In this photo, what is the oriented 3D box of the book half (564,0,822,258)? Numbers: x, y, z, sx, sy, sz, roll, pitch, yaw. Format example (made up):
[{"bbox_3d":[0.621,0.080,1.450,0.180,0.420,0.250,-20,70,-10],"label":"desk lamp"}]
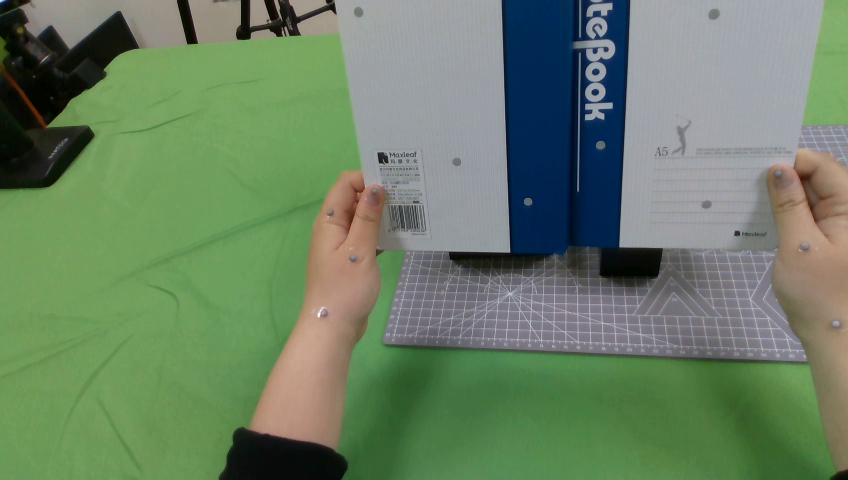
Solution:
[{"bbox_3d":[0.161,-0.082,0.386,0.143,0.212,0.007,1,28,15],"label":"book half"}]

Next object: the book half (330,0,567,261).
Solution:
[{"bbox_3d":[0.021,-0.081,0.413,0.148,0.212,0.016,0,29,13],"label":"book half"}]
